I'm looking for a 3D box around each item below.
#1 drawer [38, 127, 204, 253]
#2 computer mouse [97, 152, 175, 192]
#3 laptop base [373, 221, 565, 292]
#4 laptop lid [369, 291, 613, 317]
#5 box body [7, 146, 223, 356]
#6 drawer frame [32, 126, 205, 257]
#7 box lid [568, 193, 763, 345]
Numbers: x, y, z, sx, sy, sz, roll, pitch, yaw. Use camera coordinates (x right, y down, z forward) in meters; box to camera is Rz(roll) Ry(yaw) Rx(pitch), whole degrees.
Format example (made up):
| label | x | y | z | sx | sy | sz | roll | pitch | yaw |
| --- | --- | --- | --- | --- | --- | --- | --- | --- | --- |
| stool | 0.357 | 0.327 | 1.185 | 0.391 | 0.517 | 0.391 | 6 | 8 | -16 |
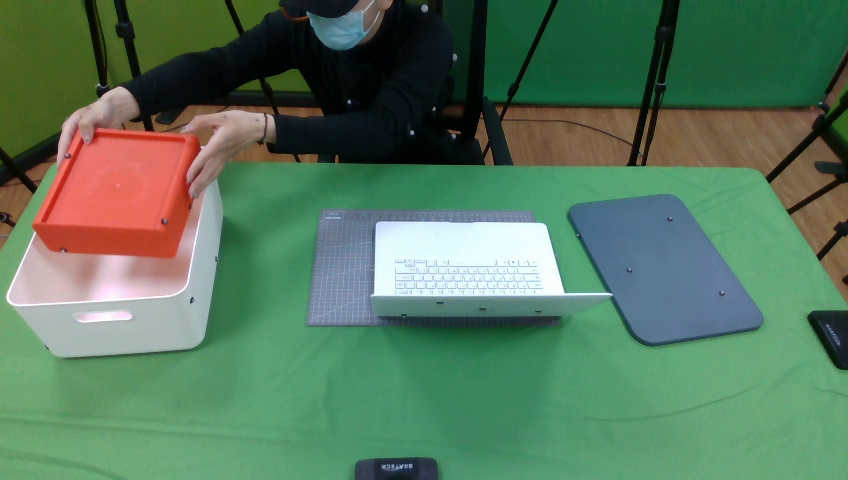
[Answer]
| label | x | y | z | sx | sy | sz | roll | pitch | yaw |
| --- | --- | --- | --- | --- | --- | --- | --- | --- | --- |
| drawer | -0.487 | -0.085 | 0.998 | 0.195 | 0.073 | 0.210 | 4 | 53 | -6 |
| computer mouse | -0.488 | -0.117 | 1.031 | 0.117 | 0.041 | 0.062 | 12 | 42 | -3 |
| laptop base | 0.080 | 0.049 | 1.159 | 0.355 | 0.023 | 0.234 | 0 | 43 | -4 |
| laptop lid | 0.092 | 0.104 | 0.965 | 0.357 | 0.242 | 0.013 | 0 | 76 | -5 |
| box body | -0.499 | 0.012 | 1.051 | 0.254 | 0.161 | 0.361 | -3 | 47 | -7 |
| drawer frame | -0.488 | -0.083 | 0.995 | 0.202 | 0.083 | 0.212 | 3 | 54 | -5 |
| box lid | 0.464 | 0.040 | 1.203 | 0.264 | 0.015 | 0.369 | -7 | 47 | -11 |
